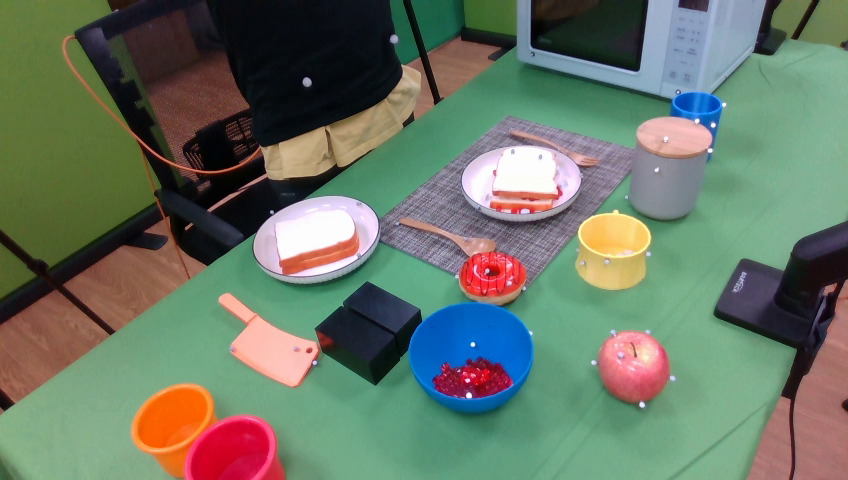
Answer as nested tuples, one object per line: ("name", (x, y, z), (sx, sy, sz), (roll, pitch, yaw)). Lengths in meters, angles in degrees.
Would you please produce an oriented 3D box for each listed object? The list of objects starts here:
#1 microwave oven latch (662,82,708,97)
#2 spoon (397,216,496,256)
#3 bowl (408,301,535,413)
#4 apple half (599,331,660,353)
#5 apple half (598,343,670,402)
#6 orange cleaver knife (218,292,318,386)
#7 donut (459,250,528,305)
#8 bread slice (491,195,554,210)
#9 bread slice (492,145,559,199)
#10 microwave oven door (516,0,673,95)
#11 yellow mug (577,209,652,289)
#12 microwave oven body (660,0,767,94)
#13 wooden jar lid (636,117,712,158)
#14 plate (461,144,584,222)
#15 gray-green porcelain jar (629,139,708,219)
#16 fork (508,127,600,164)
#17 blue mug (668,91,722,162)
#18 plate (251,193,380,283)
("microwave oven latch", (0.517, -0.298, 1.202), (0.078, 0.029, 0.030), (28, 52, 35))
("spoon", (0.032, -0.011, 0.972), (0.192, 0.022, 0.041), (22, 73, 29))
("bowl", (0.060, 0.156, 0.739), (0.151, 0.077, 0.150), (-4, 40, 4))
("apple half", (0.249, 0.134, 0.738), (0.081, 0.081, 0.032), (-1, 46, 7))
("apple half", (0.247, 0.161, 0.710), (0.081, 0.075, 0.053), (1, 47, 5))
("orange cleaver knife", (-0.235, 0.136, 0.850), (0.209, 0.012, 0.077), (25, 57, 30))
("donut", (0.100, 0.053, 0.872), (0.099, 0.048, 0.098), (-5, 40, 4))
("bread slice", (0.173, -0.098, 1.048), (0.104, 0.019, 0.131), (2, 44, 12))
("bread slice", (0.172, -0.118, 1.028), (0.107, 0.018, 0.134), (3, 44, 7))
("microwave oven door", (0.344, -0.458, 1.256), (0.353, 0.245, 0.039), (26, 51, 33))
("yellow mug", (0.279, 0.005, 0.893), (0.099, 0.064, 0.130), (5, 41, 15))
("microwave oven body", (0.473, -0.516, 1.313), (0.438, 0.261, 0.327), (26, 51, 34))
("wooden jar lid", (0.377, -0.151, 0.917), (0.108, 0.021, 0.108), (-2, 41, 3))
("plate", (0.168, -0.095, 1.040), (0.207, 0.039, 0.206), (-4, 40, 4))
("gray-green porcelain jar", (0.383, -0.104, 0.958), (0.106, 0.127, 0.105), (-4, 41, 4))
("fork", (0.240, -0.180, 1.142), (0.205, 0.019, 0.028), (32, 63, 34))
("blue mug", (0.475, -0.207, 1.078), (0.082, 0.106, 0.116), (4, 42, 13))
("plate", (-0.173, -0.001, 0.984), (0.209, 0.038, 0.208), (-4, 41, 4))
